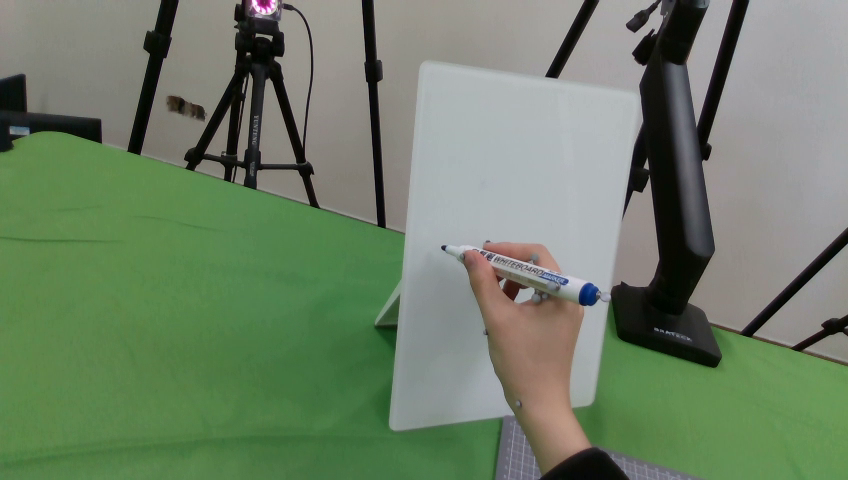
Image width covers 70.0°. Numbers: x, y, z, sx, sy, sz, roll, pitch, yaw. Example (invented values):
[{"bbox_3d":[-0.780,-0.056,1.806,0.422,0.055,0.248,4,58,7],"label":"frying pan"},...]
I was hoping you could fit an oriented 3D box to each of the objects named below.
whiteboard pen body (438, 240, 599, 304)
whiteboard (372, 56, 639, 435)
[{"bbox_3d":[0.058,0.018,0.422,0.017,0.017,0.139,-12,21,-40],"label":"whiteboard pen body"},{"bbox_3d":[0.055,-0.001,0.579,0.218,0.306,0.142,0,12,-24],"label":"whiteboard"}]
